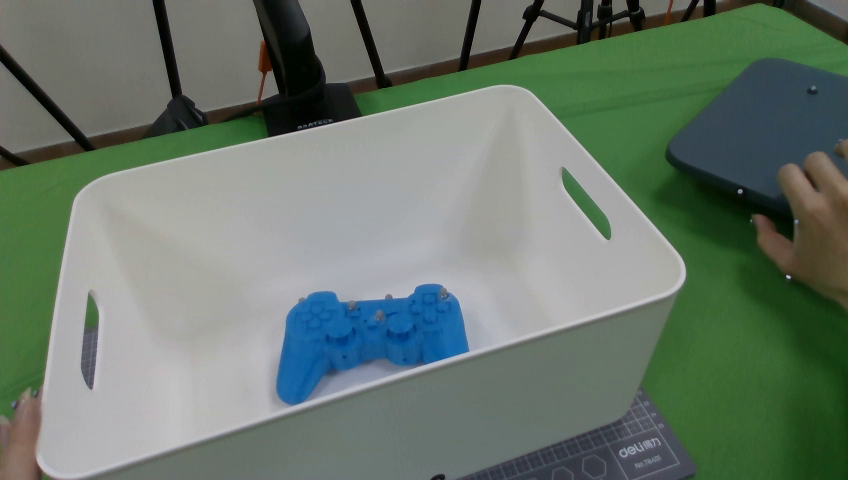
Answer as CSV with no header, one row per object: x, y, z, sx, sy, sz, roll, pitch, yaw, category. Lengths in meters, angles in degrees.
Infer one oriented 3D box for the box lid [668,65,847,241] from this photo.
0.456,-0.070,0.582,0.368,0.015,0.263,31,54,32,box lid

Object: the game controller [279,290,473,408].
-0.038,0.083,0.493,0.155,0.052,0.096,-3,38,2,game controller

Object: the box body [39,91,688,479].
-0.041,0.050,0.452,0.365,0.162,0.251,-15,44,-10,box body
